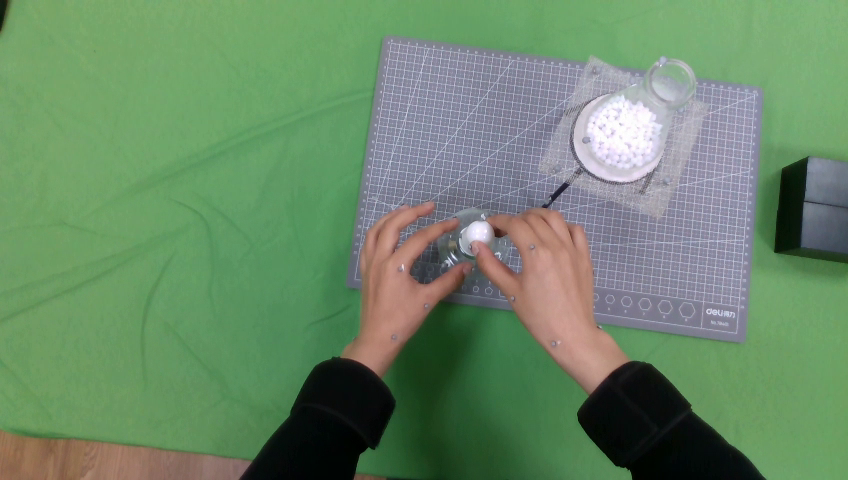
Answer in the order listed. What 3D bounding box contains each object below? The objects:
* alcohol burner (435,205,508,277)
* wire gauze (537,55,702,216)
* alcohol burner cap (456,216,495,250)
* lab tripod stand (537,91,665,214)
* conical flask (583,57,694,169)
[{"bbox_3d":[0.051,0.000,0.628,0.078,0.119,0.077,0,85,0],"label":"alcohol burner"},{"bbox_3d":[0.185,-0.098,0.565,0.121,0.011,0.125,25,81,2],"label":"wire gauze"},{"bbox_3d":[0.052,-0.009,0.590,0.034,0.048,0.034,1,86,-10],"label":"alcohol burner cap"},{"bbox_3d":[0.179,-0.092,0.631,0.148,0.132,0.148,0,82,1],"label":"lab tripod stand"},{"bbox_3d":[0.184,-0.109,0.508,0.075,0.122,0.075,0,82,0],"label":"conical flask"}]
